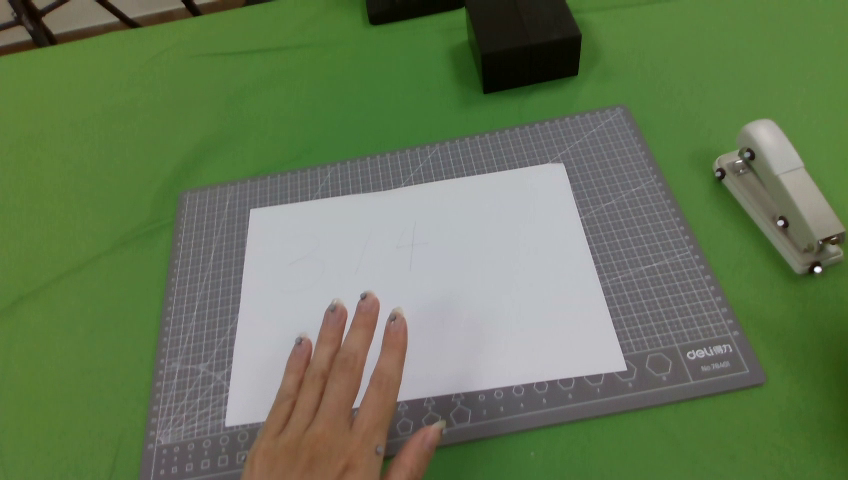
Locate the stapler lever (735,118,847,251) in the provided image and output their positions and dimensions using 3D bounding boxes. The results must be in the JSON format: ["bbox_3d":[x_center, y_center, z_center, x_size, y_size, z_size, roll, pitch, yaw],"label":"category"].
[{"bbox_3d":[0.287,-0.047,0.476,0.027,0.040,0.117,-19,55,-1],"label":"stapler lever"}]

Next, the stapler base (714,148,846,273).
[{"bbox_3d":[0.290,-0.034,0.497,0.041,0.025,0.129,-19,55,-1],"label":"stapler base"}]
